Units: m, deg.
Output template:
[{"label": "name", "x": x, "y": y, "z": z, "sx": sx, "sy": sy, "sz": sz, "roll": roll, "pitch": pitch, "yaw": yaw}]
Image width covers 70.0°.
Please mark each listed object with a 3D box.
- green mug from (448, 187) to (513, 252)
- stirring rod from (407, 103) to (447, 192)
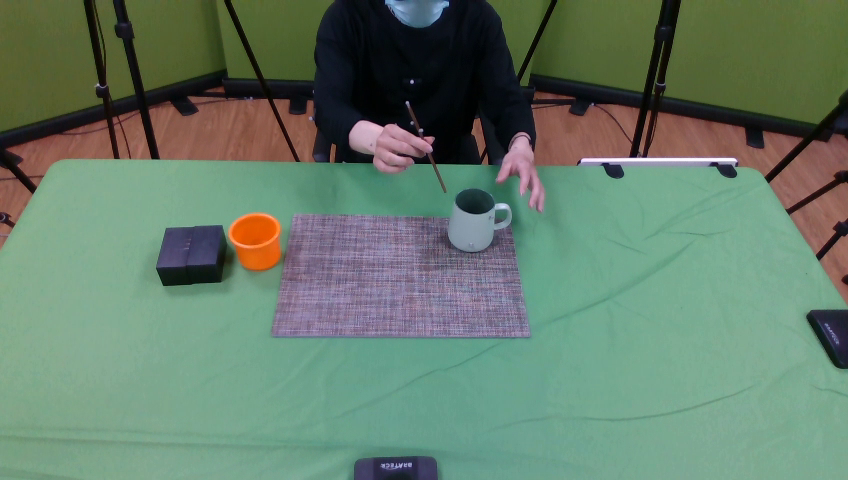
[{"label": "green mug", "x": 0.112, "y": -0.041, "z": 1.179, "sx": 0.125, "sy": 0.105, "sz": 0.092, "roll": -7, "pitch": 47, "yaw": -10}, {"label": "stirring rod", "x": 0.007, "y": -0.162, "z": 1.076, "sx": 0.006, "sy": 0.177, "sz": 0.014, "roll": -20, "pitch": 26, "yaw": 11}]
